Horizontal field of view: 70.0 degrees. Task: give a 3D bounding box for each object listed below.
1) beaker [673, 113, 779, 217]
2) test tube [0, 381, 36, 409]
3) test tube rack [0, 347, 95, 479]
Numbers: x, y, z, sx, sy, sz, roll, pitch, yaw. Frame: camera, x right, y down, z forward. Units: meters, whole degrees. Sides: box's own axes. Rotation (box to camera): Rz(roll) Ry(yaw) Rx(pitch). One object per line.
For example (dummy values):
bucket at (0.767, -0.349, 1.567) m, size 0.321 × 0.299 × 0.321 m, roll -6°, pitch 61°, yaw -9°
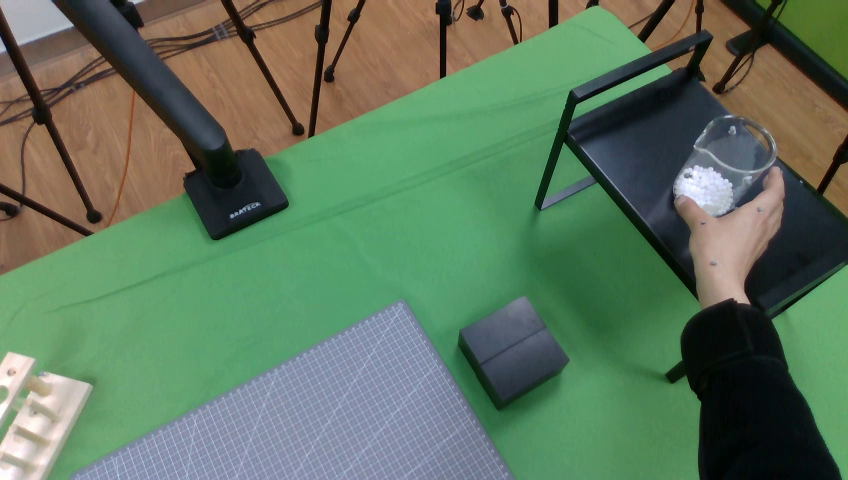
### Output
beaker at (0.320, -0.077, 0.661) m, size 0.084 × 0.101 × 0.073 m, roll -1°, pitch 61°, yaw -1°
test tube at (-0.475, 0.160, 0.666) m, size 0.017 × 0.151 × 0.017 m, roll -1°, pitch 61°, yaw 3°
test tube rack at (-0.475, 0.252, 0.673) m, size 0.066 × 0.086 × 0.240 m, roll 13°, pitch 62°, yaw 6°
